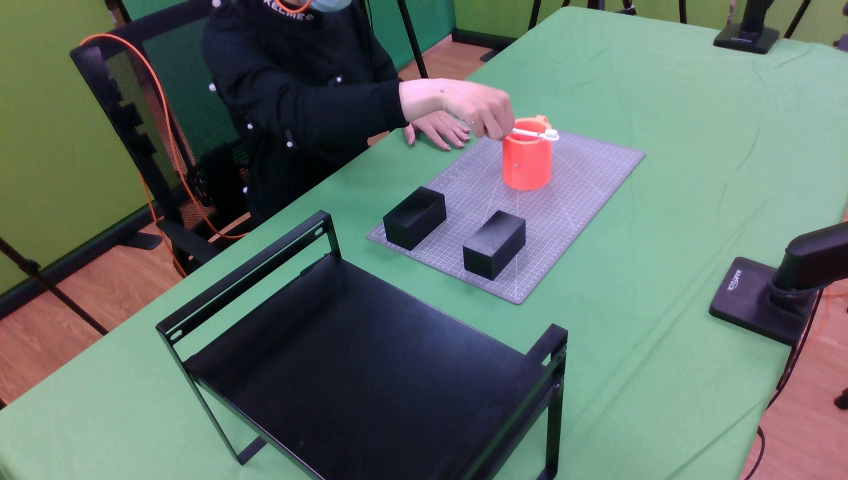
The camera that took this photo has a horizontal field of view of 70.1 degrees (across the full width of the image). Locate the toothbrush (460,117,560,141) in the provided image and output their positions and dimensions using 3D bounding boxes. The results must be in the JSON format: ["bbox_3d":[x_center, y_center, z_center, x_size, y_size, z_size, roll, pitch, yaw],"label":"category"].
[{"bbox_3d":[0.139,-0.186,0.999,0.180,0.017,0.014,16,61,29],"label":"toothbrush"}]

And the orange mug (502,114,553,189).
[{"bbox_3d":[0.190,-0.164,1.071,0.083,0.101,0.126,16,50,25],"label":"orange mug"}]
